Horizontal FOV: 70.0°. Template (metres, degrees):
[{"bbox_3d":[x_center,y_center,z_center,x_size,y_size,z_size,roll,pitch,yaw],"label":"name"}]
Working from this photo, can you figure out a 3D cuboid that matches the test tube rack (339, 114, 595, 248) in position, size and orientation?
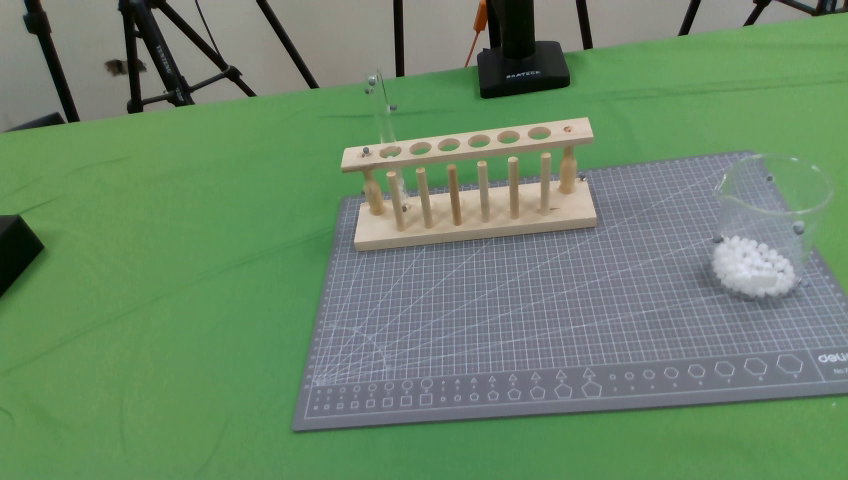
[{"bbox_3d":[0.043,-0.056,0.603,0.242,0.086,0.066,-6,42,7],"label":"test tube rack"}]

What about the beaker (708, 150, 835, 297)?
[{"bbox_3d":[0.270,-0.009,0.488,0.084,0.101,0.073,-6,42,9],"label":"beaker"}]

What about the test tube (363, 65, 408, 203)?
[{"bbox_3d":[-0.036,-0.098,0.593,0.017,0.152,0.017,-7,39,6],"label":"test tube"}]
